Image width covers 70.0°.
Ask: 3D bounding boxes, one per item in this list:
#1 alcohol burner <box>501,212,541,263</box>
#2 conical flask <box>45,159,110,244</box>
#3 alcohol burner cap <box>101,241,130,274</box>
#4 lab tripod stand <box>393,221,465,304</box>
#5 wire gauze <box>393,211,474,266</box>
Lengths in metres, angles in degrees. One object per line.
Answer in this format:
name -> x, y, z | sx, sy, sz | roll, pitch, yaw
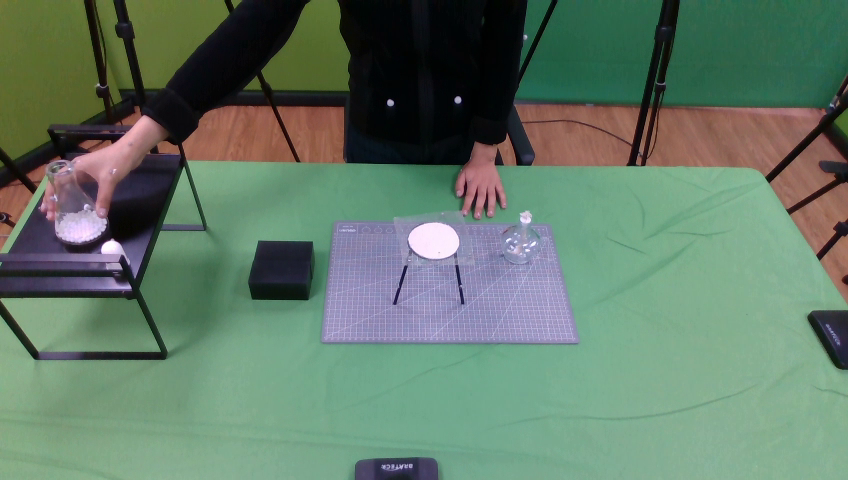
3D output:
alcohol burner -> 0.187, -0.011, 1.156 | 0.078, 0.120, 0.077 | 2, 48, -2
conical flask -> -0.516, -0.059, 0.890 | 0.075, 0.122, 0.075 | 3, 42, -3
alcohol burner cap -> -0.450, 0.022, 0.877 | 0.034, 0.048, 0.033 | 2, 46, -2
lab tripod stand -> 0.010, 0.045, 1.075 | 0.148, 0.132, 0.147 | 2, 48, -2
wire gauze -> 0.015, -0.003, 1.028 | 0.125, 0.011, 0.120 | -4, 47, -7
